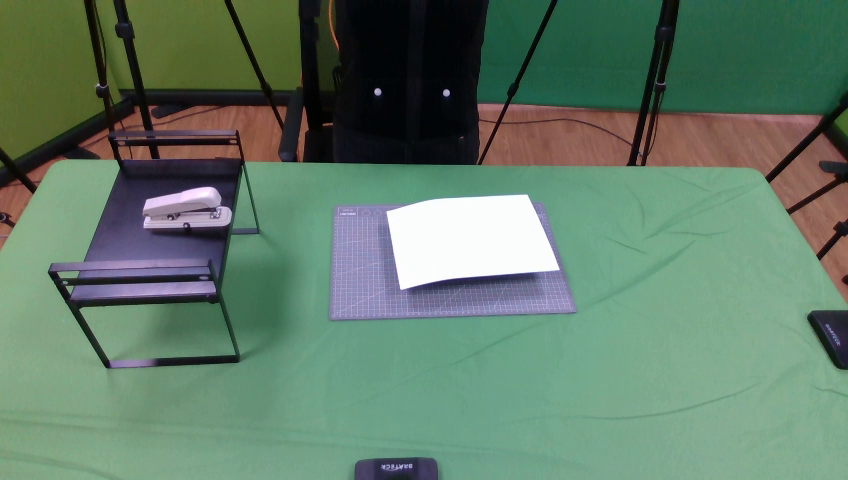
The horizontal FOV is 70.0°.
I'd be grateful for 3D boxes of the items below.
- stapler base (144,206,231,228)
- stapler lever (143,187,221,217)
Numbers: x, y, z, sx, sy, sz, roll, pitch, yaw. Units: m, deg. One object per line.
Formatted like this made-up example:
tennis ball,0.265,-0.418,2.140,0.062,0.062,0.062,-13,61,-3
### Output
stapler base,-0.376,-0.042,0.960,0.131,0.024,0.041,-4,44,-5
stapler lever,-0.376,-0.059,0.941,0.118,0.040,0.026,-4,44,-5
